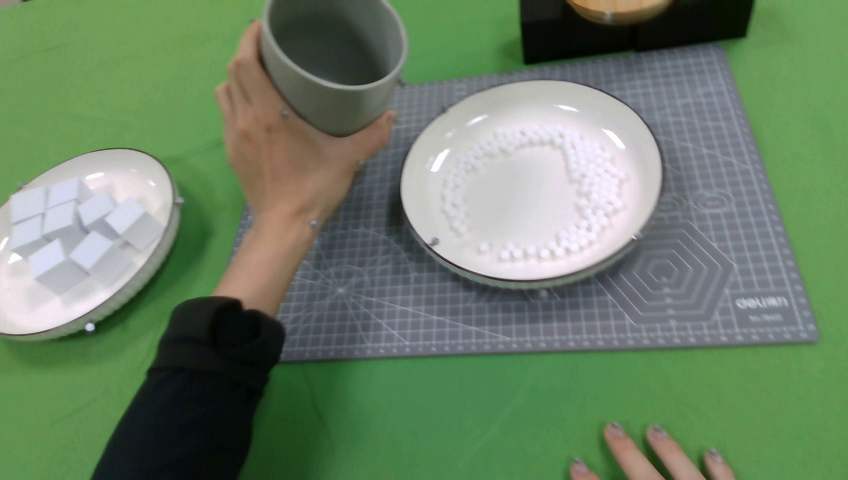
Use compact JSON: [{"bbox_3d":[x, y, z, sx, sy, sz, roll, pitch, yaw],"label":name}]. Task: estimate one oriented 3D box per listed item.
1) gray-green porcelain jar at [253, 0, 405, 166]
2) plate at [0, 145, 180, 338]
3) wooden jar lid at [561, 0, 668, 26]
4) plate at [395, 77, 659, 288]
[{"bbox_3d":[-0.083,-0.128,0.491,0.106,0.127,0.105,8,65,-16],"label":"gray-green porcelain jar"},{"bbox_3d":[-0.322,0.000,0.564,0.207,0.039,0.205,-6,55,9],"label":"plate"},{"bbox_3d":[0.176,-0.232,0.550,0.108,0.021,0.107,-6,56,9],"label":"wooden jar lid"},{"bbox_3d":[0.081,-0.048,0.495,0.209,0.038,0.207,-7,55,10],"label":"plate"}]
